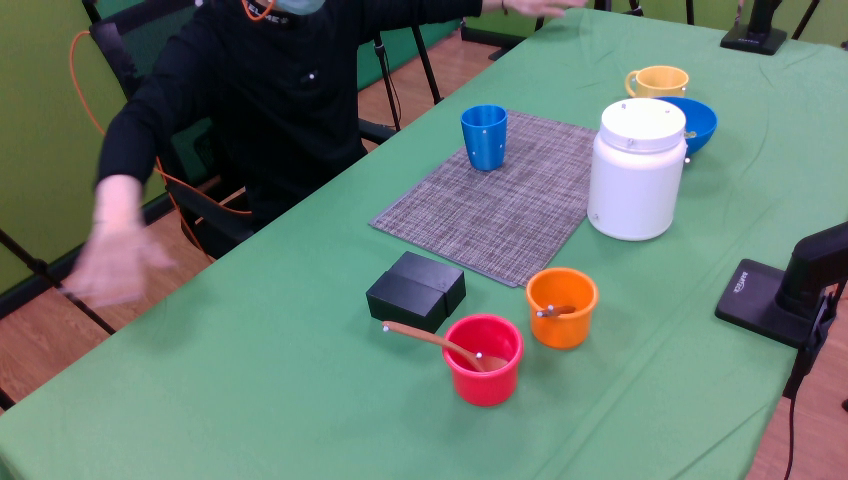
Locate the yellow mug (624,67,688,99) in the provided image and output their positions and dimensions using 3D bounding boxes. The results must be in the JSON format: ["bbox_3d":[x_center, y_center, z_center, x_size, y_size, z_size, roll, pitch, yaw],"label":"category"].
[{"bbox_3d":[0.464,-0.305,1.230,0.100,0.064,0.129,-34,46,-27],"label":"yellow mug"}]

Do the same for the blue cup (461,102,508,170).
[{"bbox_3d":[0.114,-0.185,1.109,0.092,0.100,0.092,-5,39,5],"label":"blue cup"}]

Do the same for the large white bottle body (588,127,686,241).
[{"bbox_3d":[0.324,-0.105,0.926,0.130,0.185,0.130,-4,41,4],"label":"large white bottle body"}]

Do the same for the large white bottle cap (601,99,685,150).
[{"bbox_3d":[0.314,-0.168,0.870,0.115,0.018,0.114,-4,41,4],"label":"large white bottle cap"}]

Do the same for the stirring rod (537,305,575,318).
[{"bbox_3d":[0.168,0.088,0.759,0.014,0.006,0.177,8,1,24],"label":"stirring rod"}]

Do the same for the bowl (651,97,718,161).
[{"bbox_3d":[0.439,-0.187,1.087,0.151,0.077,0.150,-4,41,4],"label":"bowl"}]

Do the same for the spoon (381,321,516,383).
[{"bbox_3d":[0.033,0.131,0.726,0.195,0.021,0.041,29,30,-26],"label":"spoon"}]
